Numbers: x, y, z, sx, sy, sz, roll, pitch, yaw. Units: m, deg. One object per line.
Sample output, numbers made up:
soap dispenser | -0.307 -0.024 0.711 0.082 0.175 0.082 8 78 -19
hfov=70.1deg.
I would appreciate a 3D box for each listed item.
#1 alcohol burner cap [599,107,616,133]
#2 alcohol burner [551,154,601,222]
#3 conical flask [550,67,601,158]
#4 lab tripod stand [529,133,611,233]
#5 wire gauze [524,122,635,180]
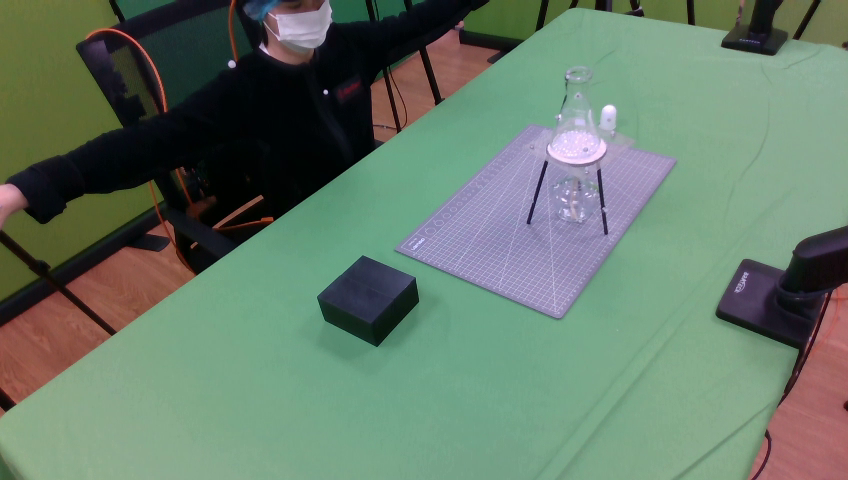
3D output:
alcohol burner cap | 0.361 -0.239 1.189 0.034 0.048 0.033 -4 40 4
alcohol burner | 0.244 -0.088 0.966 0.078 0.119 0.077 -3 40 3
conical flask | 0.221 -0.186 0.875 0.075 0.122 0.075 -5 40 5
lab tripod stand | 0.236 -0.089 0.953 0.148 0.132 0.147 -5 41 5
wire gauze | 0.233 -0.142 0.913 0.122 0.011 0.124 -31 42 -26
